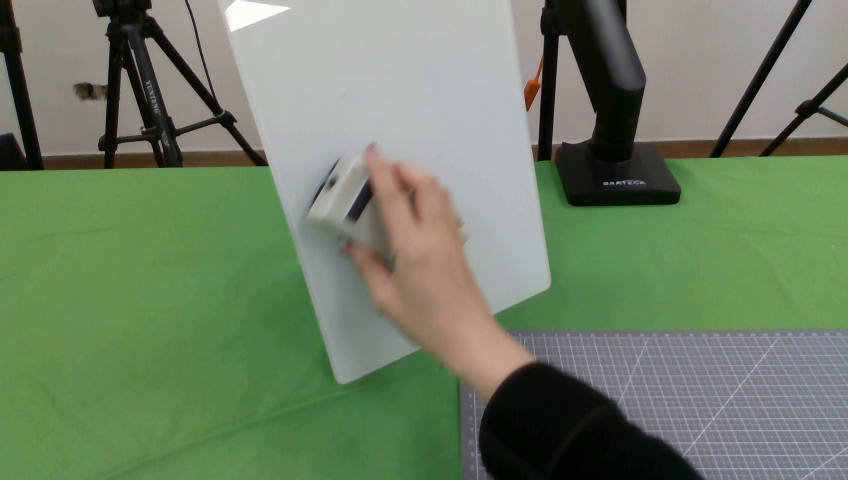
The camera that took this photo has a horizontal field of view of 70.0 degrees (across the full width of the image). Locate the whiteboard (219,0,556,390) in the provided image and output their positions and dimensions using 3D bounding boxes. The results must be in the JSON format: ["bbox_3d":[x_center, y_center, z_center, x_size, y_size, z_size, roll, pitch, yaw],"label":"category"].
[{"bbox_3d":[-0.034,-0.074,0.516,0.217,0.307,0.142,-22,22,-22],"label":"whiteboard"}]

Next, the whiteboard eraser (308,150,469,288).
[{"bbox_3d":[-0.024,-0.013,0.437,0.041,0.114,0.055,14,74,59],"label":"whiteboard eraser"}]
